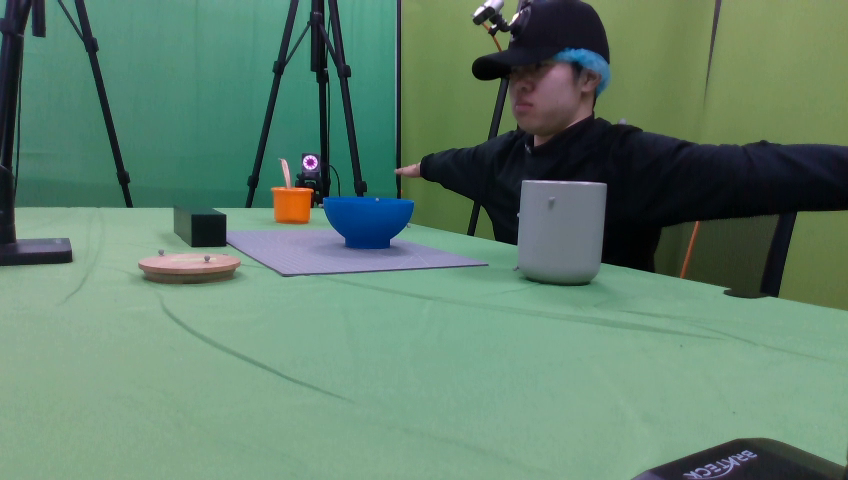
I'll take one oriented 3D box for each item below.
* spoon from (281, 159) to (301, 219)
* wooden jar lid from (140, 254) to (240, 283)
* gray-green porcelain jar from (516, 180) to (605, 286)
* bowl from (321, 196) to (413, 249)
[{"bbox_3d":[-0.307,-0.117,1.368,0.042,0.193,0.021,1,-37,-23],"label":"spoon"},{"bbox_3d":[-0.269,0.032,0.698,0.108,0.020,0.108,2,5,0],"label":"wooden jar lid"},{"bbox_3d":[0.172,-0.011,0.768,0.106,0.126,0.106,2,7,0],"label":"gray-green porcelain jar"},{"bbox_3d":[-0.094,-0.029,0.991,0.151,0.077,0.151,2,7,0],"label":"bowl"}]
